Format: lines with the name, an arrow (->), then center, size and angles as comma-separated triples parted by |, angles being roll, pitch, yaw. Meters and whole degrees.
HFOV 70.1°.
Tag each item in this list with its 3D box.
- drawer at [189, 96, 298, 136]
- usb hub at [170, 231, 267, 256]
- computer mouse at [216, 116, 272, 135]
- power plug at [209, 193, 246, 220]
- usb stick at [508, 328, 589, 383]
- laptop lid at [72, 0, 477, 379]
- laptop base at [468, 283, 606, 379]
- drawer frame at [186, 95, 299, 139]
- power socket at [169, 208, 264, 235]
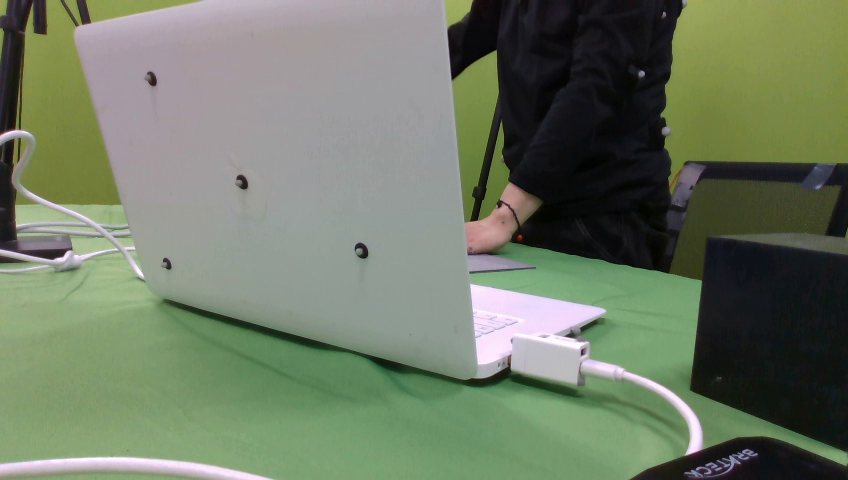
drawer -> -0.414, -0.276, 1.376 | 0.195, 0.073, 0.210 | -3, 9, -31
usb hub -> -0.290, 0.004, 0.862 | 0.049, 0.025, 0.126 | 10, 11, 42
computer mouse -> -0.402, -0.258, 1.353 | 0.118, 0.041, 0.062 | -6, 16, -34
power plug -> -0.388, -0.067, 1.205 | 0.072, 0.052, 0.035 | 3, 8, 26
usb stick -> 0.072, 0.072, 0.383 | 0.059, 0.027, 0.021 | 2, 2, 34
laptop lid -> -0.125, -0.042, 0.418 | 0.355, 0.241, 0.013 | 9, 25, 34
laptop base -> -0.042, 0.058, 0.554 | 0.352, 0.023, 0.237 | 7, 7, 35
drawer frame -> -0.417, -0.277, 1.378 | 0.203, 0.082, 0.212 | -3, 8, -32
power socket -> -0.381, -0.038, 1.129 | 0.072, 0.032, 0.227 | 4, 8, 16
